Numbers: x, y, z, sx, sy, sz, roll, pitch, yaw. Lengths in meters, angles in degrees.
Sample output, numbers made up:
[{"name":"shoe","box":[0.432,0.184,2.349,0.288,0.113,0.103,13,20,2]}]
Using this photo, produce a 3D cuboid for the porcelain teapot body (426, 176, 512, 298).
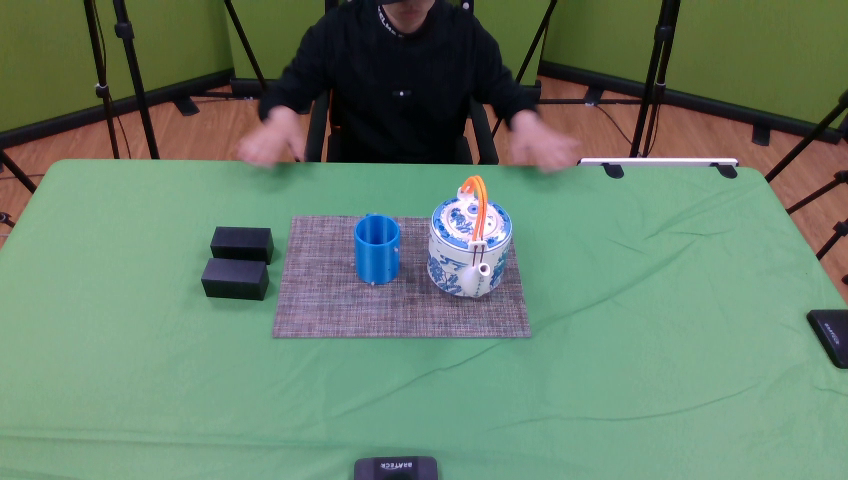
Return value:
[{"name":"porcelain teapot body","box":[0.085,0.009,1.051,0.145,0.226,0.204,-5,47,-9]}]

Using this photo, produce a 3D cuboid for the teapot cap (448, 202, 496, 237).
[{"name":"teapot cap","box":[0.083,-0.038,1.041,0.085,0.044,0.084,1,48,0]}]

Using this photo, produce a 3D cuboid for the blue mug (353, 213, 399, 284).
[{"name":"blue mug","box":[-0.093,0.006,1.123,0.082,0.106,0.115,-12,48,-15]}]
